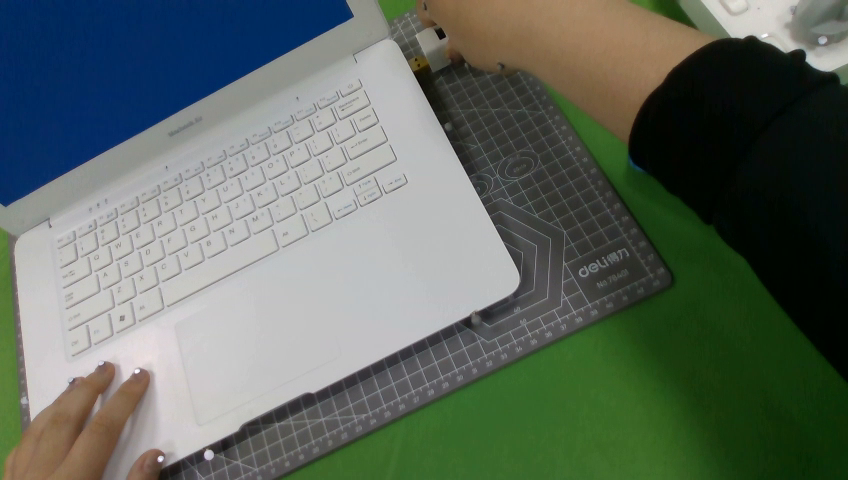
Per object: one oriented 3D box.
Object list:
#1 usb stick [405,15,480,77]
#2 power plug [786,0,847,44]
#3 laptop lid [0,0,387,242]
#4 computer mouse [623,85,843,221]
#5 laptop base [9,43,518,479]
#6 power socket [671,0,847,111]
[{"bbox_3d":[0.010,-0.142,0.453,0.059,0.027,0.021,-24,62,7],"label":"usb stick"},{"bbox_3d":[0.253,-0.139,0.357,0.072,0.053,0.035,-17,66,10],"label":"power plug"},{"bbox_3d":[-0.223,-0.142,0.402,0.356,0.244,0.013,-28,49,5],"label":"laptop lid"},{"bbox_3d":[0.182,-0.058,0.364,0.116,0.041,0.062,24,78,29],"label":"computer mouse"},{"bbox_3d":[-0.137,0.018,0.438,0.354,0.023,0.233,-27,65,4],"label":"laptop base"},{"bbox_3d":[0.208,-0.179,0.411,0.072,0.033,0.224,-25,62,6],"label":"power socket"}]
